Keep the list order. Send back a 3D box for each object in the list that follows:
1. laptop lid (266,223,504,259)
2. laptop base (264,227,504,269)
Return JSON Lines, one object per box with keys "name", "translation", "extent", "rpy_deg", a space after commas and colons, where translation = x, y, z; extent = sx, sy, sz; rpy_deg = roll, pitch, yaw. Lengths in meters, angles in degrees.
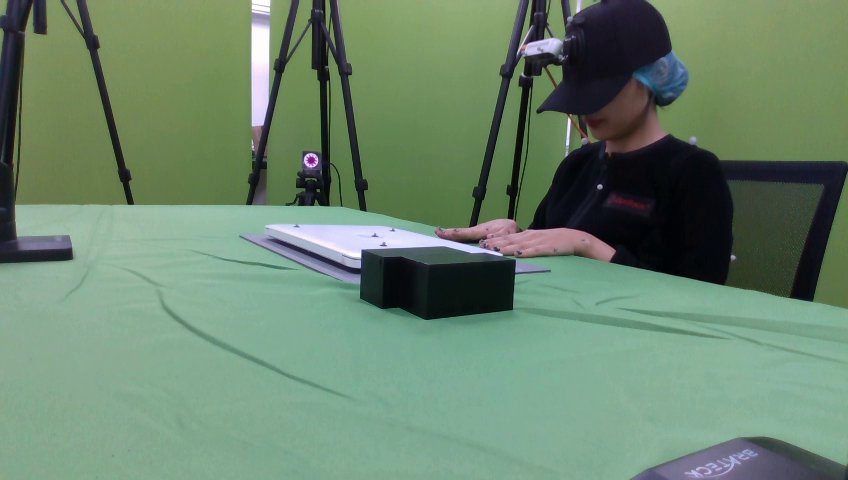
{"name": "laptop lid", "translation": [-0.074, -0.003, 0.914], "extent": [0.243, 0.013, 0.355], "rpy_deg": [1, 7, -31]}
{"name": "laptop base", "translation": [-0.077, 0.009, 0.914], "extent": [0.237, 0.023, 0.352], "rpy_deg": [2, 6, -33]}
